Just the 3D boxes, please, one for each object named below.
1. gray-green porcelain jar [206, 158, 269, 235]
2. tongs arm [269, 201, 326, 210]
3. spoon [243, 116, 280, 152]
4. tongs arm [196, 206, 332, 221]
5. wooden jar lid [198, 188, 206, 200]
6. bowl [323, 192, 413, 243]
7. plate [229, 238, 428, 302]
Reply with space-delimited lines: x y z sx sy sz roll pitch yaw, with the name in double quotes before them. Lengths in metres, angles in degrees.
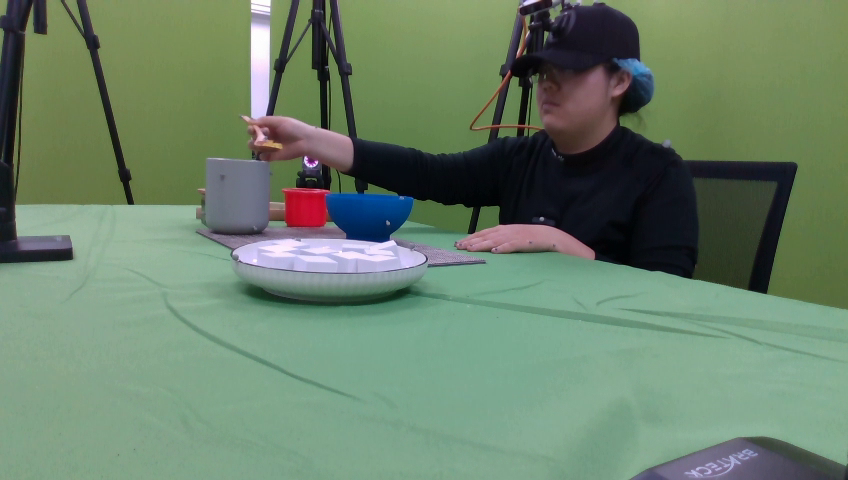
"gray-green porcelain jar" -0.322 -0.076 1.048 0.106 0.126 0.106 3 8 0
"tongs arm" -0.308 -0.073 1.410 0.385 0.026 0.050 3 8 -6
"spoon" -0.300 -0.196 1.095 0.042 0.021 0.193 3 28 -31
"tongs arm" -0.294 -0.057 1.330 0.389 0.028 0.028 0 6 -20
"wooden jar lid" -0.382 -0.088 1.175 0.108 0.020 0.108 3 8 0
"bowl" -0.094 -0.037 1.015 0.151 0.077 0.151 3 7 0
"plate" -0.099 0.032 0.651 0.209 0.038 0.209 3 8 0
